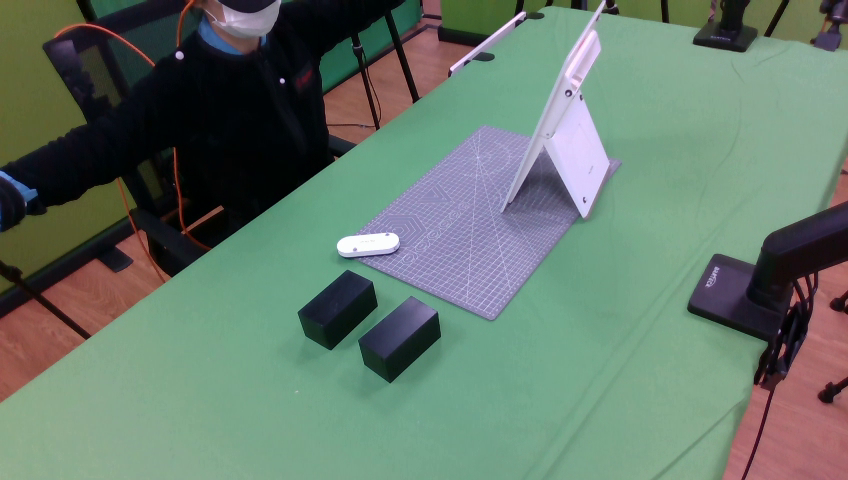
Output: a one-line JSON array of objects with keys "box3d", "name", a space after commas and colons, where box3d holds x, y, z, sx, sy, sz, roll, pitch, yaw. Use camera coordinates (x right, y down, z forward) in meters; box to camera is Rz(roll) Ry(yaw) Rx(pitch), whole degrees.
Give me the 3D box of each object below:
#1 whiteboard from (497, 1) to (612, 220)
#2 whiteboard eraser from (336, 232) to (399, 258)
[{"box3d": [0.259, -0.177, 0.963, 0.143, 0.306, 0.217, 28, 48, 9], "name": "whiteboard"}, {"box3d": [-0.091, 0.008, 0.970, 0.101, 0.019, 0.041, -4, 41, 2], "name": "whiteboard eraser"}]
